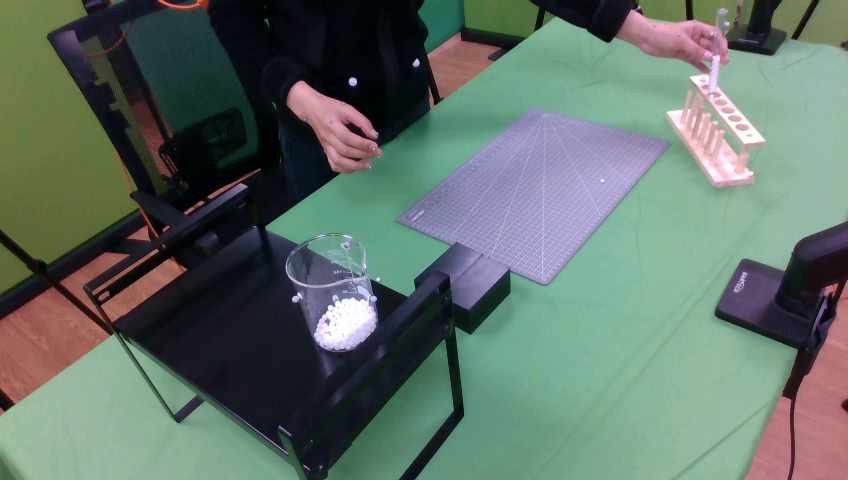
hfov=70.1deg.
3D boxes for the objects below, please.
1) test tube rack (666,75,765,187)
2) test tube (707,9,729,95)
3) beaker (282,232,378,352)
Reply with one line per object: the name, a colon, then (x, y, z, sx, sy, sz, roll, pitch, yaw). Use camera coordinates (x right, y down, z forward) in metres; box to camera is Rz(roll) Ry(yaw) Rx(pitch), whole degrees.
test tube rack: (0.512, -0.201, 1.082, 0.067, 0.085, 0.241, -6, 41, 2)
test tube: (0.505, -0.320, 1.039, 0.017, 0.151, 0.017, -7, 39, 6)
beaker: (-0.084, 0.054, 0.587, 0.083, 0.101, 0.074, 17, 47, 25)
